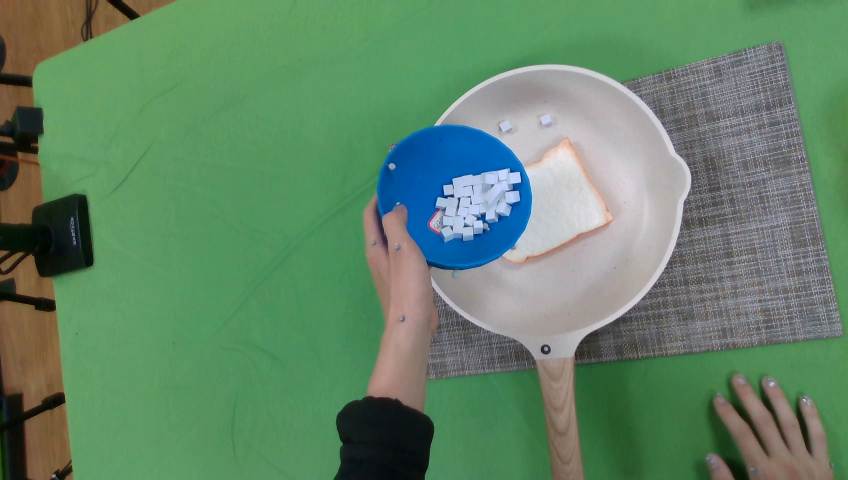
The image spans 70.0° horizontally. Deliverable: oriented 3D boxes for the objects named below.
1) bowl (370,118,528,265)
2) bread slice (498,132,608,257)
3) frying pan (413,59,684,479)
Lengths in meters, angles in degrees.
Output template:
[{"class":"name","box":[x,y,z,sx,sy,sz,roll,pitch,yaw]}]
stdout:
[{"class":"bowl","box":[0.021,-0.037,0.604,0.152,0.077,0.150,3,70,-6]},{"class":"bread slice","box":[0.127,-0.041,0.690,0.134,0.018,0.106,-32,77,15]},{"class":"frying pan","box":[0.126,0.057,0.644,0.306,0.103,0.485,-8,77,22]}]
